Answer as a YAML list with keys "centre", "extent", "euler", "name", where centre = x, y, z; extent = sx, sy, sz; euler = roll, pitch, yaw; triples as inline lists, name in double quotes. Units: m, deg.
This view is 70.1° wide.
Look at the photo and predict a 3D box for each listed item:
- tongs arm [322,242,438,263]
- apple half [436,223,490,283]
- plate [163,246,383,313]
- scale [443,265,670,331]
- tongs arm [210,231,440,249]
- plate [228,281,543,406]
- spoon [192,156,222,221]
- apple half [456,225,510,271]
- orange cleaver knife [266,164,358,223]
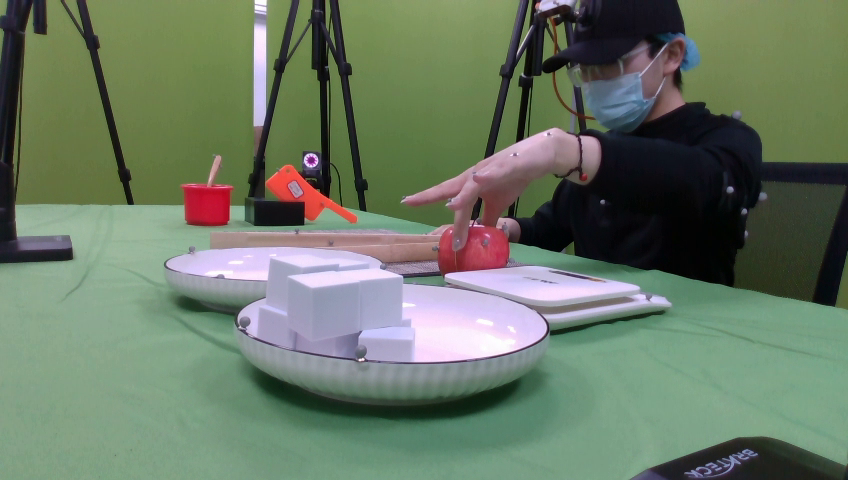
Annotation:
- centre: [-0.071, 0.017, 0.800]
  extent: [0.390, 0.028, 0.028]
  euler: [-2, 5, -34]
  name: "tongs arm"
- centre: [0.045, 0.017, 0.691]
  extent: [0.081, 0.074, 0.053]
  euler: [-9, 10, -41]
  name: "apple half"
- centre: [-0.145, 0.038, 0.600]
  extent: [0.209, 0.038, 0.209]
  euler: [2, 7, 0]
  name: "plate"
- centre: [0.131, 0.052, 0.602]
  extent: [0.202, 0.031, 0.148]
  euler: [-2, 9, -37]
  name: "scale"
- centre: [-0.106, 0.004, 0.876]
  extent: [0.386, 0.026, 0.050]
  euler: [0, 7, -20]
  name: "tongs arm"
- centre: [-0.025, 0.067, 0.413]
  extent: [0.208, 0.039, 0.207]
  euler: [3, 7, 0]
  name: "plate"
- centre: [-0.430, -0.108, 1.222]
  extent: [0.041, 0.021, 0.193]
  euler: [-1, 52, 0]
  name: "spoon"
- centre: [0.072, 0.021, 0.662]
  extent: [0.082, 0.081, 0.032]
  euler: [-4, 7, -42]
  name: "apple half"
- centre: [-0.238, -0.082, 1.295]
  extent: [0.212, 0.077, 0.012]
  euler: [35, -9, -26]
  name: "orange cleaver knife"
